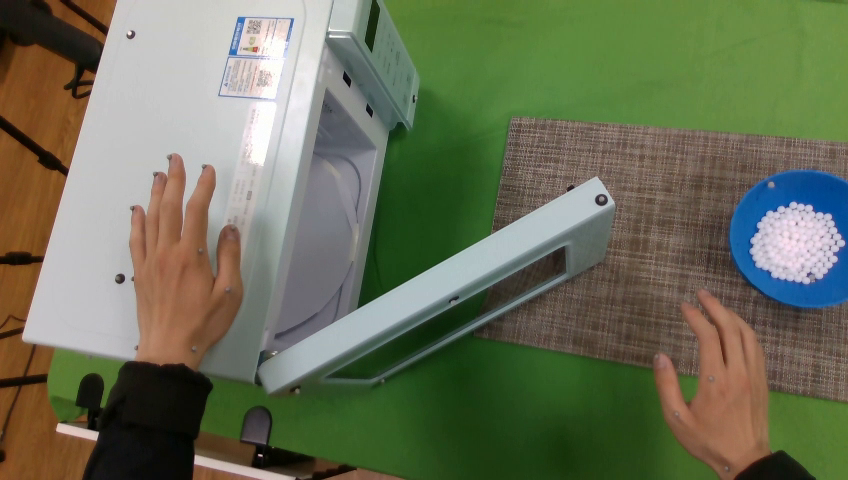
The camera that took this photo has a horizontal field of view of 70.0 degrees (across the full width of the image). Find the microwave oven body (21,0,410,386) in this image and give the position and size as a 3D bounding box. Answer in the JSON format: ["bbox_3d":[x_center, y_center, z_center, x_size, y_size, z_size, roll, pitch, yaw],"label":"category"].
[{"bbox_3d":[-0.224,-0.064,0.741,0.325,0.262,0.440,6,79,14],"label":"microwave oven body"}]

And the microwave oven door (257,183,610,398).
[{"bbox_3d":[0.029,0.071,0.647,0.356,0.245,0.039,-30,71,5],"label":"microwave oven door"}]

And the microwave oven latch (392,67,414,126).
[{"bbox_3d":[-0.032,-0.198,0.828,0.030,0.030,0.079,6,80,14],"label":"microwave oven latch"}]

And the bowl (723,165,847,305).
[{"bbox_3d":[0.406,0.002,0.673,0.151,0.077,0.150,-3,77,13],"label":"bowl"}]
